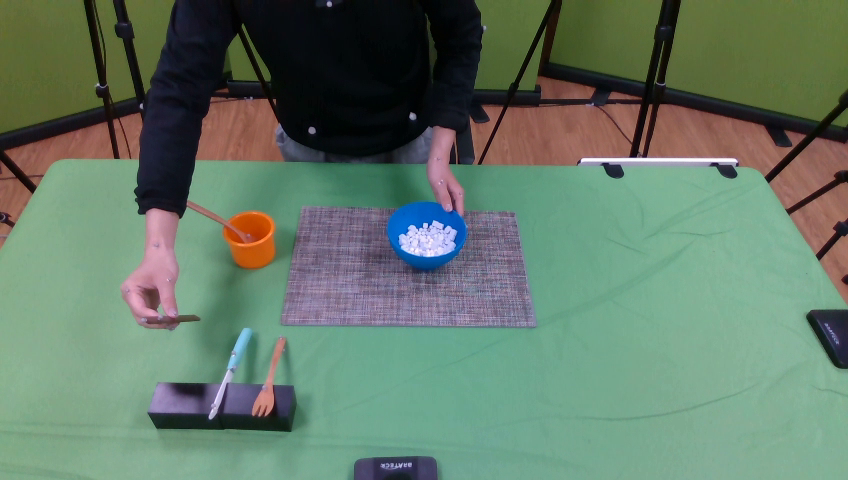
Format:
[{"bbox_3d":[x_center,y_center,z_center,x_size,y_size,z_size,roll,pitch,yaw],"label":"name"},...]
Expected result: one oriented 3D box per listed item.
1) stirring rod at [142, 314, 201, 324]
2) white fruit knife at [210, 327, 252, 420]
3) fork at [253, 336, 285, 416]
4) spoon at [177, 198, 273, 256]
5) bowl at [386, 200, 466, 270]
[{"bbox_3d":[-0.362,0.114,0.878,0.014,0.176,0.006,28,85,3],"label":"stirring rod"},{"bbox_3d":[-0.298,0.200,0.938,0.016,0.027,0.206,-1,30,0],"label":"white fruit knife"},{"bbox_3d":[-0.235,0.206,0.938,0.028,0.019,0.206,-3,26,-2],"label":"fork"},{"bbox_3d":[-0.361,-0.025,1.107,0.021,0.195,0.041,-31,37,29],"label":"spoon"},{"bbox_3d":[0.001,0.003,1.150,0.151,0.077,0.150,2,46,-2],"label":"bowl"}]
